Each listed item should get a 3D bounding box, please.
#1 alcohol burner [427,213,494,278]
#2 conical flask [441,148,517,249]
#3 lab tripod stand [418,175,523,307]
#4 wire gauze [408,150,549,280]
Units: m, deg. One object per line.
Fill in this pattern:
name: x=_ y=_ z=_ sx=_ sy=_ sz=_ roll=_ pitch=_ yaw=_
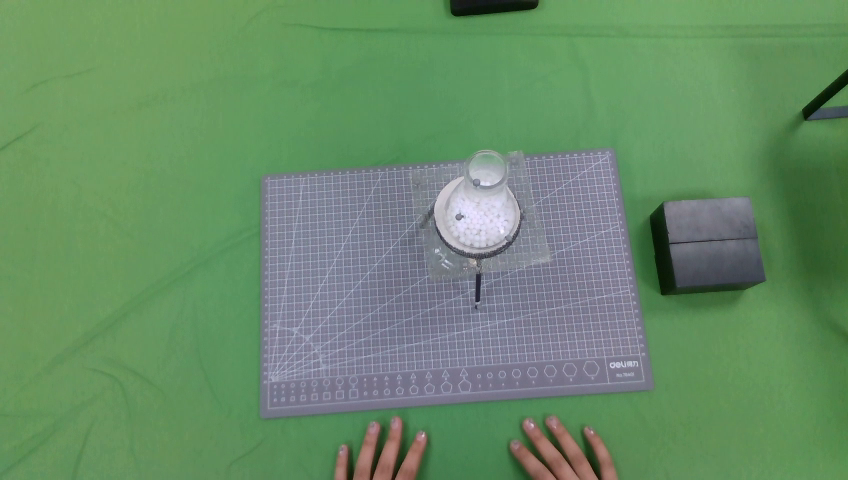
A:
alcohol burner: x=0.042 y=0.002 z=0.683 sx=0.078 sy=0.119 sz=0.077 roll=0 pitch=74 yaw=0
conical flask: x=0.053 y=-0.042 z=0.554 sx=0.075 sy=0.122 sz=0.075 roll=0 pitch=73 yaw=2
lab tripod stand: x=0.058 y=-0.010 z=0.675 sx=0.148 sy=0.132 sz=0.147 roll=0 pitch=73 yaw=1
wire gauze: x=0.054 y=-0.026 z=0.612 sx=0.125 sy=0.011 sz=0.121 roll=-9 pitch=76 yaw=-4
